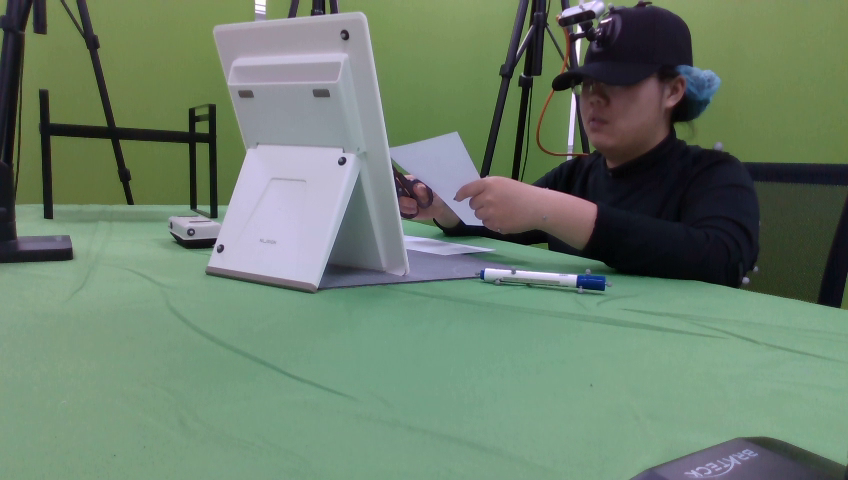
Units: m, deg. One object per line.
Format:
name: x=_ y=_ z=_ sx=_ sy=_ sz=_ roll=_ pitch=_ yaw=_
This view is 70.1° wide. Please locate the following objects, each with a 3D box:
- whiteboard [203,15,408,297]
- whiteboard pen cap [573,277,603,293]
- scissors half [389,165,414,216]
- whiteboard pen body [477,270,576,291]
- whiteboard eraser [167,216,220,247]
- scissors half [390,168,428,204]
whiteboard: x=-0.166 y=-0.072 z=0.668 sx=0.216 sy=0.305 sz=0.144 roll=8 pitch=30 yaw=30
whiteboard pen cap: x=0.186 y=0.051 z=0.687 sx=0.033 sy=0.018 sz=0.018 roll=4 pitch=8 yaw=17
scissors half: x=-0.057 y=-0.094 z=0.981 sx=0.040 sy=0.176 sz=0.013 roll=-39 pitch=50 yaw=-9
whiteboard pen body: x=0.131 y=0.048 z=0.707 sx=0.140 sy=0.017 sz=0.017 roll=4 pitch=8 yaw=17
whiteboard eraser: x=-0.350 y=-0.013 z=0.920 sx=0.056 sy=0.042 sz=0.112 roll=0 pitch=7 yaw=-35
scissors half: x=-0.042 y=-0.108 z=0.980 sx=0.176 sy=0.040 sz=0.012 roll=35 pitch=12 yaw=-50
